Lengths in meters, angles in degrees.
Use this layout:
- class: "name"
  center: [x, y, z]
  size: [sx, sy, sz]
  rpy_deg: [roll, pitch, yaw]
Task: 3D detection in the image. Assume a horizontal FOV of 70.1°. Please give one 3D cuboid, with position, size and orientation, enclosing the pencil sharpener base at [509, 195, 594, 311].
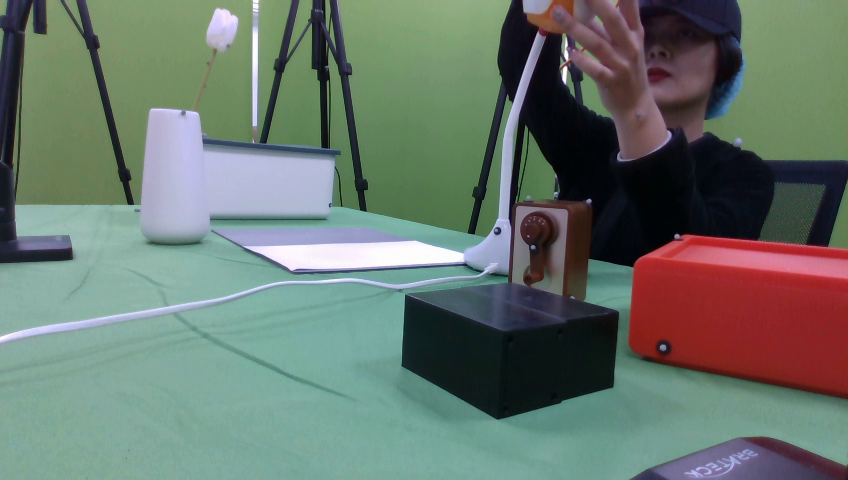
- class: "pencil sharpener base"
  center: [0.126, 0.011, 0.601]
  size: [0.061, 0.107, 0.077]
  rpy_deg: [7, 9, 30]

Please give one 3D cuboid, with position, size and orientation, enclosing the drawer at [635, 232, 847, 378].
- class: "drawer"
  center: [0.292, 0.044, 0.488]
  size: [0.193, 0.073, 0.213]
  rpy_deg: [7, 9, 30]

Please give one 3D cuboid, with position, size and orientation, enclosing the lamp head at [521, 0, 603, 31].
- class: "lamp head"
  center: [0.148, -0.282, 0.628]
  size: [0.112, 0.123, 0.112]
  rpy_deg: [13, 18, -4]

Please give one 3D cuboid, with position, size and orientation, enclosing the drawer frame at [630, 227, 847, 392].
- class: "drawer frame"
  center: [0.292, 0.044, 0.485]
  size: [0.201, 0.082, 0.214]
  rpy_deg: [7, 9, 29]

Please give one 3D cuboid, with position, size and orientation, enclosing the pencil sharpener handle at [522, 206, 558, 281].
- class: "pencil sharpener handle"
  center: [0.102, 0.003, 0.555]
  size: [0.036, 0.067, 0.031]
  rpy_deg: [0, 5, 31]

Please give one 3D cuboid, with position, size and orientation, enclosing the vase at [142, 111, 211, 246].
- class: "vase"
  center: [-0.378, -0.093, 0.920]
  size: [0.098, 0.200, 0.098]
  rpy_deg: [2, 9, 0]

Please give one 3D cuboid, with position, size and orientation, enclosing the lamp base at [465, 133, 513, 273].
- class: "lamp base"
  center: [0.132, -0.052, 0.808]
  size: [0.160, 0.180, 0.180]
  rpy_deg: [6, 12, 26]

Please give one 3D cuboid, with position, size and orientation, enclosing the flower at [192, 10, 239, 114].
- class: "flower"
  center: [-0.354, -0.174, 0.916]
  size: [0.038, 0.361, 0.044]
  rpy_deg: [18, -3, 12]

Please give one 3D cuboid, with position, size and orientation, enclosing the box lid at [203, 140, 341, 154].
- class: "box lid"
  center: [-0.396, -0.212, 1.373]
  size: [0.373, 0.015, 0.262]
  rpy_deg: [-1, 9, -29]

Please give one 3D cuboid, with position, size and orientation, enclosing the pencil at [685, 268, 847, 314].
- class: "pencil"
  center: [0.308, 0.045, 0.516]
  size: [0.194, 0.012, 0.012]
  rpy_deg: [13, 5, -11]

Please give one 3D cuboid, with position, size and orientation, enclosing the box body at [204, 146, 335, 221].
- class: "box body"
  center: [-0.411, -0.135, 1.386]
  size: [0.366, 0.160, 0.253]
  rpy_deg: [-2, 9, -29]
